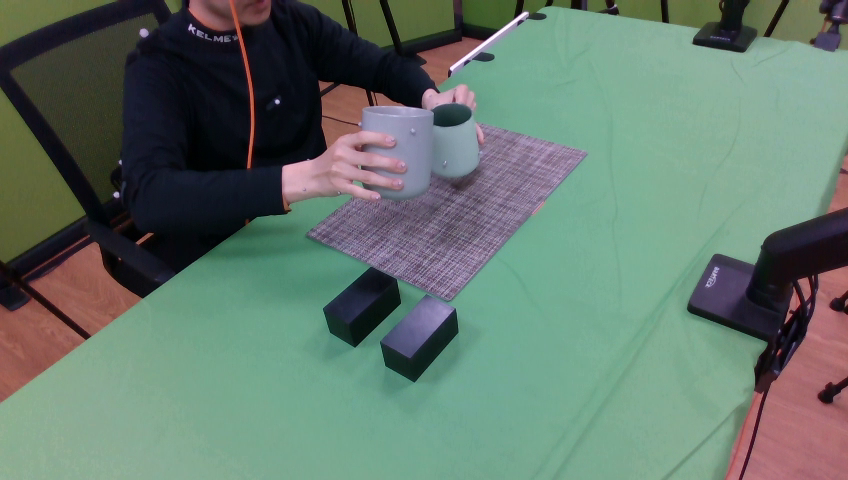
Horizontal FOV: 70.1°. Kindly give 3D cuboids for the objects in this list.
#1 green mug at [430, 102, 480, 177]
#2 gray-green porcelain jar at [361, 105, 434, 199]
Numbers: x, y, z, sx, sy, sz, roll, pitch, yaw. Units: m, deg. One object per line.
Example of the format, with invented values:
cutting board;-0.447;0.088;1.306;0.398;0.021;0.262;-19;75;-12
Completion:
green mug;0.046;-0.180;1.038;0.092;0.105;0.124;-5;42;4
gray-green porcelain jar;-0.041;-0.130;0.898;0.106;0.126;0.105;3;19;-1
